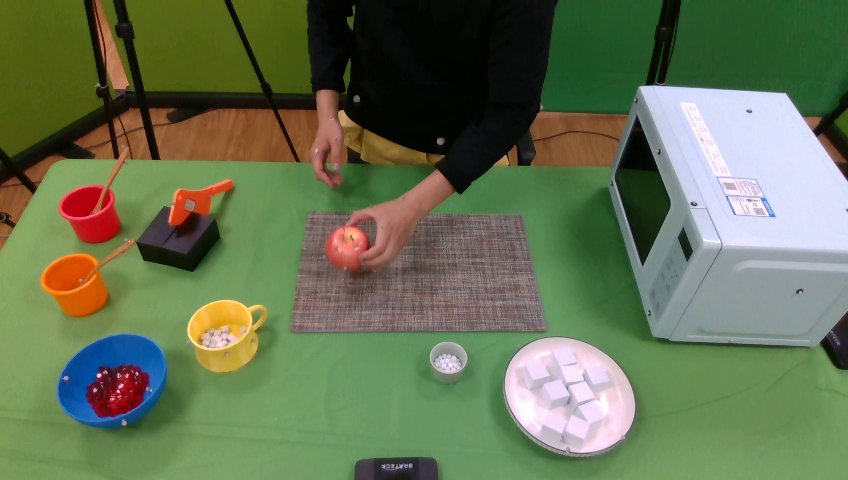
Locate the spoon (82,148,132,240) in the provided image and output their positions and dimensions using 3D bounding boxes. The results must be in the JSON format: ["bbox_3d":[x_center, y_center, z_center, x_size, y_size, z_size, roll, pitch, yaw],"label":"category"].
[{"bbox_3d":[-0.602,-0.089,1.156,0.041,0.022,0.194,28,95,20],"label":"spoon"}]

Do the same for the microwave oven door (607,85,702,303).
[{"bbox_3d":[0.423,-0.094,1.140,0.039,0.245,0.353,2,46,-1],"label":"microwave oven door"}]

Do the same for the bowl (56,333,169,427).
[{"bbox_3d":[-0.456,0.223,0.911,0.151,0.077,0.150,3,46,-2],"label":"bowl"}]

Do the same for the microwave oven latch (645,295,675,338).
[{"bbox_3d":[0.412,0.134,1.062,0.030,0.029,0.078,3,45,0],"label":"microwave oven latch"}]

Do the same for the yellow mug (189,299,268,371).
[{"bbox_3d":[-0.316,0.148,1.002,0.131,0.064,0.099,-32,56,-31],"label":"yellow mug"}]

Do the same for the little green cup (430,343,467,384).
[{"bbox_3d":[0.039,0.203,0.994,0.061,0.039,0.061,2,46,-2],"label":"little green cup"}]

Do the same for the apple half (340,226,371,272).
[{"bbox_3d":[-0.122,0.019,1.088,0.053,0.075,0.080,6,46,-8],"label":"apple half"}]

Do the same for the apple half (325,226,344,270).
[{"bbox_3d":[-0.161,0.016,1.082,0.033,0.081,0.081,5,46,-9],"label":"apple half"}]

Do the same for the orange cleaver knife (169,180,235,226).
[{"bbox_3d":[-0.436,-0.076,1.199,0.012,0.077,0.211,17,17,9],"label":"orange cleaver knife"}]

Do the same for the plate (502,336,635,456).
[{"bbox_3d":[0.225,0.248,0.963,0.208,0.039,0.206,2,46,-2],"label":"plate"}]

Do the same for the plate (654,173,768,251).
[{"bbox_3d":[0.556,-0.050,1.187,0.209,0.038,0.208,1,46,-1],"label":"plate"}]

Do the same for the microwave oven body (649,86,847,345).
[{"bbox_3d":[0.568,-0.053,1.118,0.326,0.261,0.439,2,45,-1],"label":"microwave oven body"}]

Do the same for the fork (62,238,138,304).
[{"bbox_3d":[-0.547,0.053,1.018,0.207,0.019,0.028,-36,41,23],"label":"fork"}]

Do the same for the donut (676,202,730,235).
[{"bbox_3d":[0.538,-0.043,1.170,0.099,0.048,0.098,5,27,-2],"label":"donut"}]
